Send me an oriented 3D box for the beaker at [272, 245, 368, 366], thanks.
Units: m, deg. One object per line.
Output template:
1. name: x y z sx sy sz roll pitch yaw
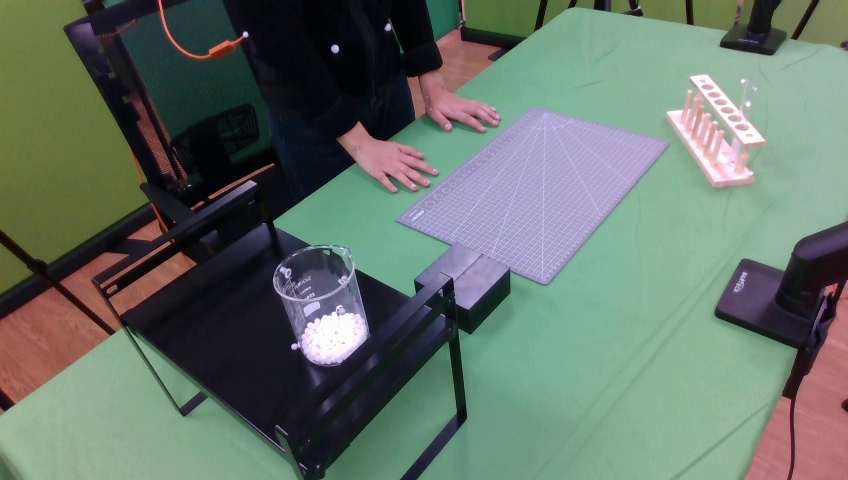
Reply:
1. beaker: -0.093 0.064 0.578 0.073 0.101 0.084 21 48 29

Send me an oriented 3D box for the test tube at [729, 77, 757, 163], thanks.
1. test tube: 0.525 -0.195 0.997 0.017 0.151 0.017 -4 36 4

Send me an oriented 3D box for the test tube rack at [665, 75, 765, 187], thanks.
1. test tube rack: 0.512 -0.201 1.082 0.067 0.085 0.241 -6 41 2
